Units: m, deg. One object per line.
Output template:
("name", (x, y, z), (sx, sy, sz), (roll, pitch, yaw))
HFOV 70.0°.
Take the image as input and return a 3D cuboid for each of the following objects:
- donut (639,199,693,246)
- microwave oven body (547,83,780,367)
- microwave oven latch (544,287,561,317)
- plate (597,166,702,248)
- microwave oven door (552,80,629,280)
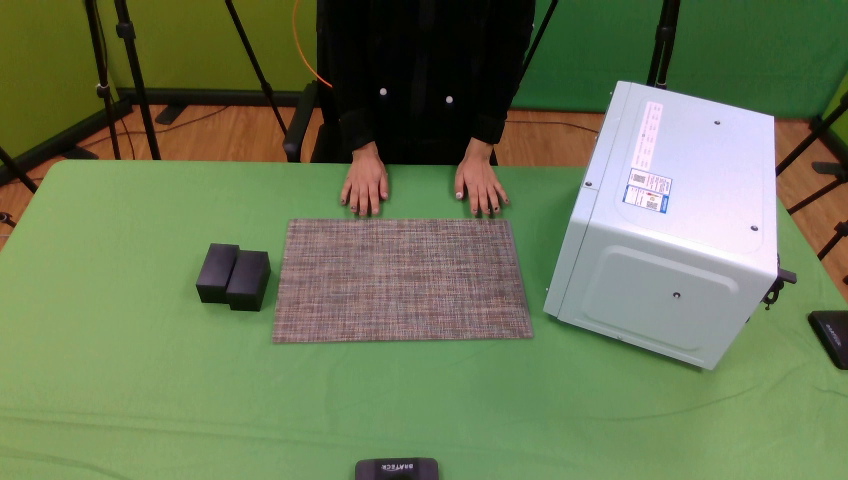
("donut", (0.462, -0.034, 1.160), (0.099, 0.048, 0.098), (0, 62, 0))
("microwave oven body", (0.445, -0.041, 1.101), (0.325, 0.261, 0.440), (17, 47, 13))
("microwave oven latch", (0.237, 0.098, 1.087), (0.030, 0.029, 0.079), (17, 47, 13))
("plate", (0.432, -0.061, 1.175), (0.209, 0.038, 0.208), (8, 47, -9))
("microwave oven door", (0.324, -0.116, 1.156), (0.039, 0.245, 0.354), (18, 48, 13))
